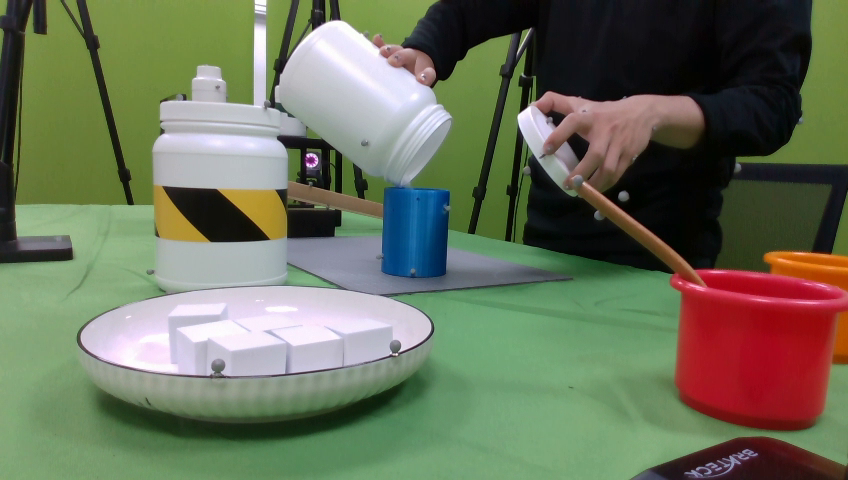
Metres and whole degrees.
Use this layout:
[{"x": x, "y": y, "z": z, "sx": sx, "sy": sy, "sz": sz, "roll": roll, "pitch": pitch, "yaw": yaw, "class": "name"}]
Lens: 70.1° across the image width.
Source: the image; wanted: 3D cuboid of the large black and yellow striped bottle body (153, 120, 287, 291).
[{"x": -0.208, "y": -0.042, "z": 0.626, "sx": 0.131, "sy": 0.184, "sz": 0.130, "roll": 2, "pitch": 7, "yaw": 0, "class": "large black and yellow striped bottle body"}]

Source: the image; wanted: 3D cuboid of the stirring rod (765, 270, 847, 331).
[{"x": 0.352, "y": 0.020, "z": 0.484, "sx": 0.176, "sy": 0.006, "sz": 0.014, "roll": -40, "pitch": -7, "yaw": 12, "class": "stirring rod"}]

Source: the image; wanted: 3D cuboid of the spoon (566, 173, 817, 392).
[{"x": 0.161, "y": 0.024, "z": 0.370, "sx": 0.193, "sy": 0.021, "sz": 0.042, "roll": 47, "pitch": 17, "yaw": 3, "class": "spoon"}]

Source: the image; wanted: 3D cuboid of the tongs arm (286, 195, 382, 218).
[{"x": -0.165, "y": -0.074, "z": 1.216, "sx": 0.389, "sy": 0.027, "sz": 0.028, "roll": 11, "pitch": -6, "yaw": -24, "class": "tongs arm"}]

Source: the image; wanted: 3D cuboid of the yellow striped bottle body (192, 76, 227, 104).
[{"x": -0.414, "y": -0.268, "z": 1.169, "sx": 0.063, "sy": 0.120, "sz": 0.063, "roll": 2, "pitch": 7, "yaw": 0, "class": "yellow striped bottle body"}]

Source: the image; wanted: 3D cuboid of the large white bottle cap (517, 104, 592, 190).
[{"x": 0.149, "y": -0.106, "z": 0.688, "sx": 0.018, "sy": 0.114, "sz": 0.115, "roll": -40, "pitch": -14, "yaw": 27, "class": "large white bottle cap"}]

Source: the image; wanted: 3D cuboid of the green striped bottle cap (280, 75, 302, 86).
[{"x": -0.267, "y": -0.320, "z": 1.216, "sx": 0.044, "sy": 0.020, "sz": 0.044, "roll": 2, "pitch": 9, "yaw": 0, "class": "green striped bottle cap"}]

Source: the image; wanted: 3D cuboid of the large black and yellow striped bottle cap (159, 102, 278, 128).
[{"x": -0.207, "y": -0.125, "z": 0.615, "sx": 0.115, "sy": 0.019, "sz": 0.115, "roll": 2, "pitch": 6, "yaw": 0, "class": "large black and yellow striped bottle cap"}]

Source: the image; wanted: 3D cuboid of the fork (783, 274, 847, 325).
[{"x": 0.332, "y": 0.018, "z": 0.443, "sx": 0.028, "sy": 0.018, "sz": 0.207, "roll": -2, "pitch": -36, "yaw": -15, "class": "fork"}]

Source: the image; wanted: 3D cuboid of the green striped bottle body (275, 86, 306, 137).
[{"x": -0.269, "y": -0.269, "z": 1.221, "sx": 0.063, "sy": 0.119, "sz": 0.063, "roll": 2, "pitch": 7, "yaw": 0, "class": "green striped bottle body"}]

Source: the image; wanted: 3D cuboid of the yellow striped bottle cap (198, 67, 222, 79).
[{"x": -0.412, "y": -0.320, "z": 1.162, "sx": 0.044, "sy": 0.018, "sz": 0.044, "roll": 0, "pitch": 5, "yaw": 0, "class": "yellow striped bottle cap"}]

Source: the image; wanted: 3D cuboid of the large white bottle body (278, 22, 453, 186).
[{"x": -0.069, "y": -0.162, "z": 0.742, "sx": 0.184, "sy": 0.130, "sz": 0.131, "roll": 38, "pitch": 13, "yaw": 5, "class": "large white bottle body"}]

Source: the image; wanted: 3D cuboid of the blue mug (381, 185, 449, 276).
[{"x": -0.018, "y": -0.016, "z": 0.764, "sx": 0.083, "sy": 0.106, "sz": 0.116, "roll": -2, "pitch": 8, "yaw": -25, "class": "blue mug"}]

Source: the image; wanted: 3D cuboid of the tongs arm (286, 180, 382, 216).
[{"x": -0.122, "y": -0.066, "z": 1.147, "sx": 0.387, "sy": 0.026, "sz": 0.050, "roll": 11, "pitch": -2, "yaw": -37, "class": "tongs arm"}]

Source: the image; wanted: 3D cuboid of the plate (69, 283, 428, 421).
[{"x": -0.102, "y": 0.066, "z": 0.380, "sx": 0.208, "sy": 0.039, "sz": 0.207, "roll": 2, "pitch": 7, "yaw": 0, "class": "plate"}]
